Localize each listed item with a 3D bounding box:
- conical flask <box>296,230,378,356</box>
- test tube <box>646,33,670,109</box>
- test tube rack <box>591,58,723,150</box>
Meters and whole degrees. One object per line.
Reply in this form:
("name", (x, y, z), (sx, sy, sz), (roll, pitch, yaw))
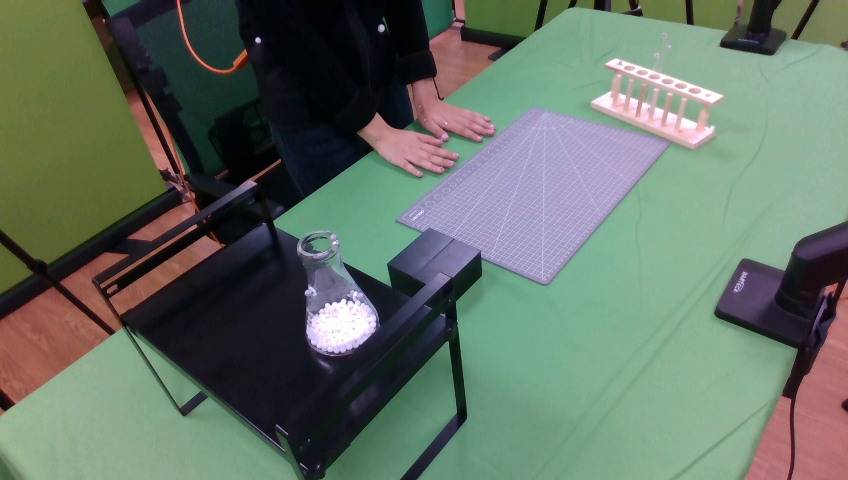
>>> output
("conical flask", (-0.090, 0.048, 0.578), (0.075, 0.122, 0.075), (-5, 41, 5))
("test tube", (0.445, -0.319, 1.154), (0.017, 0.151, 0.017), (-1, 41, 2))
("test tube rack", (0.442, -0.269, 1.171), (0.067, 0.085, 0.240), (-30, 46, -24))
